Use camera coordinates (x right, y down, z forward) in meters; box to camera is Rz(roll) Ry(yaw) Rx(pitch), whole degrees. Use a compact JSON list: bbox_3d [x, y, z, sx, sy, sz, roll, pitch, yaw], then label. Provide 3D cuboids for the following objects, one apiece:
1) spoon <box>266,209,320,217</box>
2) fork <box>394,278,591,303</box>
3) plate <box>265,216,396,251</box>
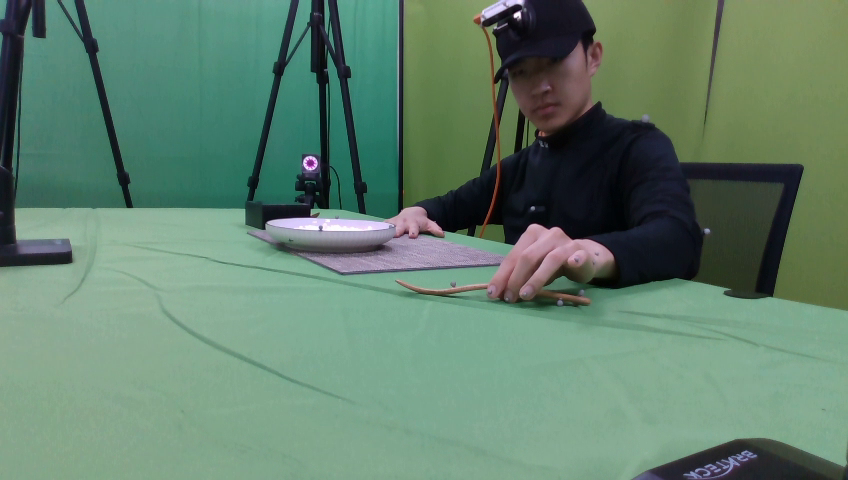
[{"bbox_3d":[-0.315,-0.064,1.434,0.193,0.021,0.042,8,25,40],"label":"spoon"},{"bbox_3d":[0.070,0.053,0.638,0.207,0.018,0.028,2,-7,7],"label":"fork"},{"bbox_3d":[-0.150,-0.011,0.978,0.209,0.038,0.209,3,7,0],"label":"plate"}]
